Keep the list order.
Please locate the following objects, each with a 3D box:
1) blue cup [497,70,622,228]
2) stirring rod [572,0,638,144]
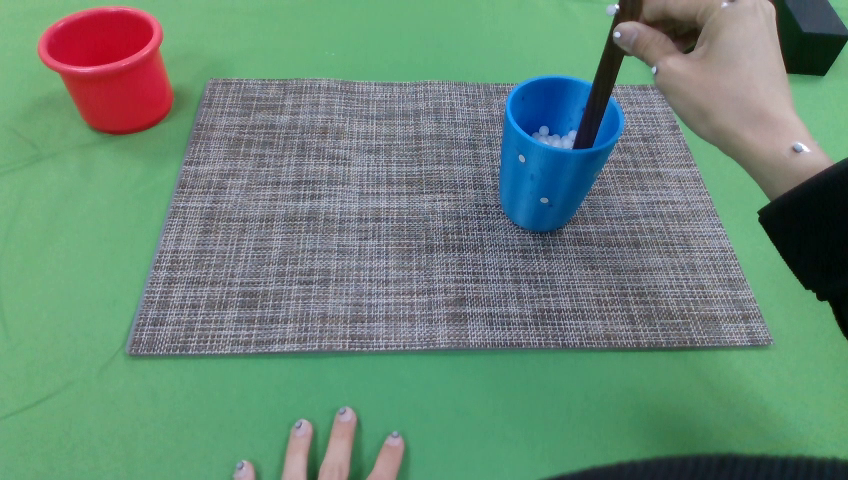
[{"bbox_3d":[0.094,-0.063,0.467,0.093,0.101,0.091,3,52,-3],"label":"blue cup"},{"bbox_3d":[0.116,-0.112,0.393,0.014,0.177,0.005,11,48,5],"label":"stirring rod"}]
